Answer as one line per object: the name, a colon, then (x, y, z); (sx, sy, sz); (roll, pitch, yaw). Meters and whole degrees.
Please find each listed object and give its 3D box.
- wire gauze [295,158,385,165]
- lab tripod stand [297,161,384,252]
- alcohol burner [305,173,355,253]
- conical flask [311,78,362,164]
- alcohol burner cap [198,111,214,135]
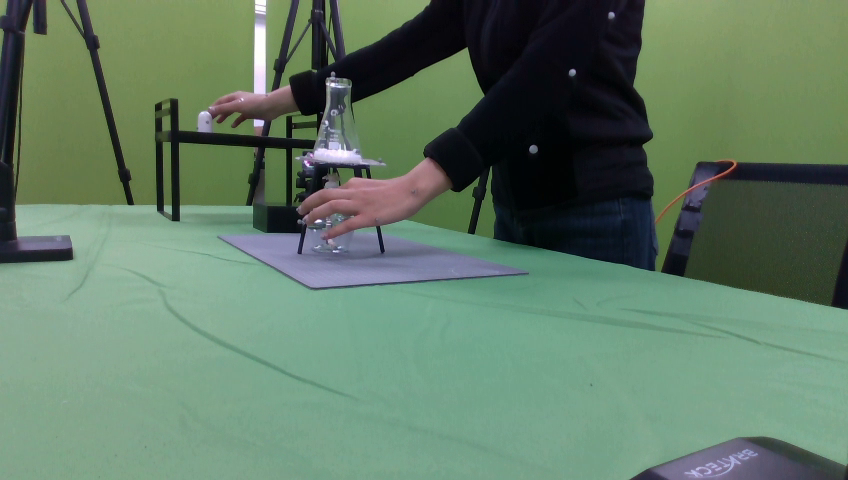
wire gauze: (-0.128, -0.117, 0.901); (0.125, 0.011, 0.121); (-2, 8, -14)
lab tripod stand: (-0.130, -0.050, 0.903); (0.148, 0.131, 0.148); (4, 9, 0)
alcohol burner: (-0.140, -0.040, 0.898); (0.078, 0.119, 0.078); (5, 7, 0)
conical flask: (-0.128, -0.174, 0.890); (0.075, 0.122, 0.075); (3, 9, 0)
alcohol burner cap: (-0.459, -0.246, 1.271); (0.034, 0.048, 0.034); (1, 7, 0)
